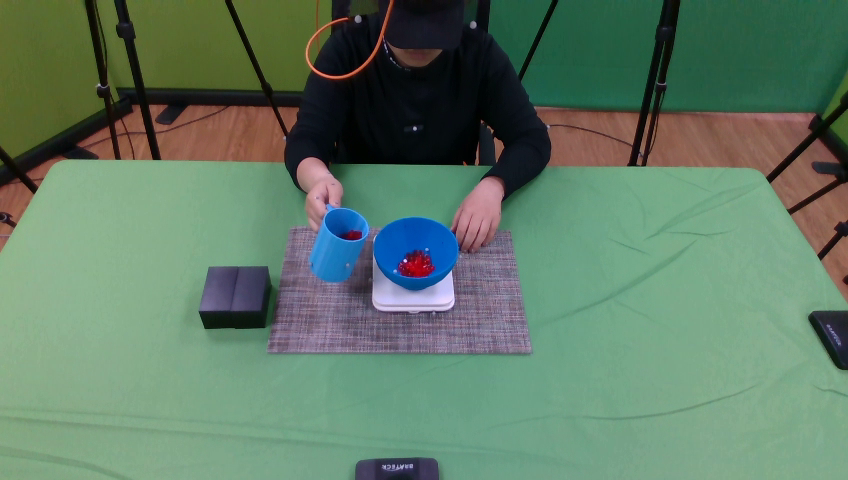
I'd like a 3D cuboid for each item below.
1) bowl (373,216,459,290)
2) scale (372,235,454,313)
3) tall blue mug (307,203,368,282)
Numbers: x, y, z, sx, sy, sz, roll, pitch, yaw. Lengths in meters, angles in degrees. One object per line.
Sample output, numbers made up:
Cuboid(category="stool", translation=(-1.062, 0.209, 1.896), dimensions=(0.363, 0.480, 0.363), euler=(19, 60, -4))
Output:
Cuboid(category="bowl", translation=(-0.015, 0.036, 1.075), dimensions=(0.151, 0.077, 0.150), euler=(2, 46, -1))
Cuboid(category="scale", translation=(-0.022, 0.051, 1.134), dimensions=(0.149, 0.032, 0.199), euler=(1, 46, -4))
Cuboid(category="tall blue mug", translation=(-0.156, -0.001, 1.012), dimensions=(0.107, 0.108, 0.078), euler=(40, 44, 13))
